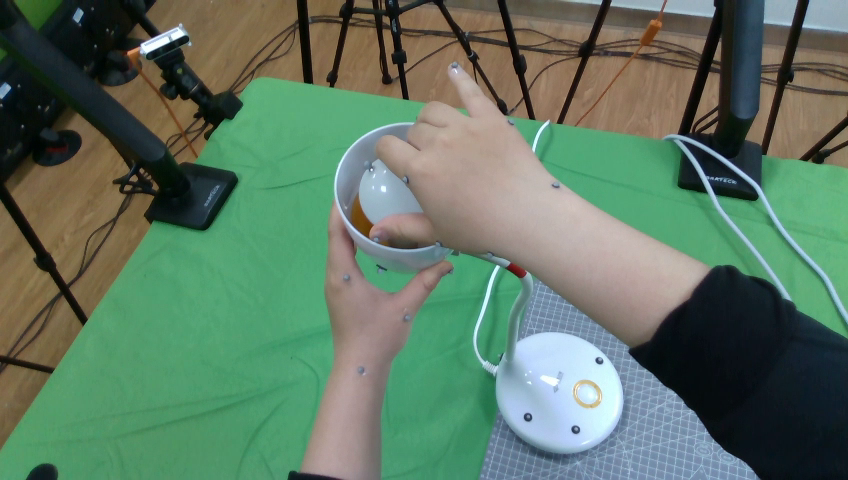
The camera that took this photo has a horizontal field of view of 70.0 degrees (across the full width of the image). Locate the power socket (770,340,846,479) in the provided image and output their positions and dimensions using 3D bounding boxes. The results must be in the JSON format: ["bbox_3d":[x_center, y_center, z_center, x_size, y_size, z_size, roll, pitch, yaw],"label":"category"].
[{"bbox_3d":[0.455,0.221,0.722,0.072,0.033,0.225,12,58,13],"label":"power socket"}]

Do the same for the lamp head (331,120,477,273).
[{"bbox_3d":[-0.012,-0.021,0.504,0.112,0.124,0.111,-1,65,3],"label":"lamp head"}]

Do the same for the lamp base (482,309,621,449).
[{"bbox_3d":[0.150,0.143,0.717,0.178,0.182,0.159,6,57,14],"label":"lamp base"}]

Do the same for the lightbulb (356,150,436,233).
[{"bbox_3d":[-0.019,-0.030,0.472,0.059,0.108,0.059,-1,73,2],"label":"lightbulb"}]
